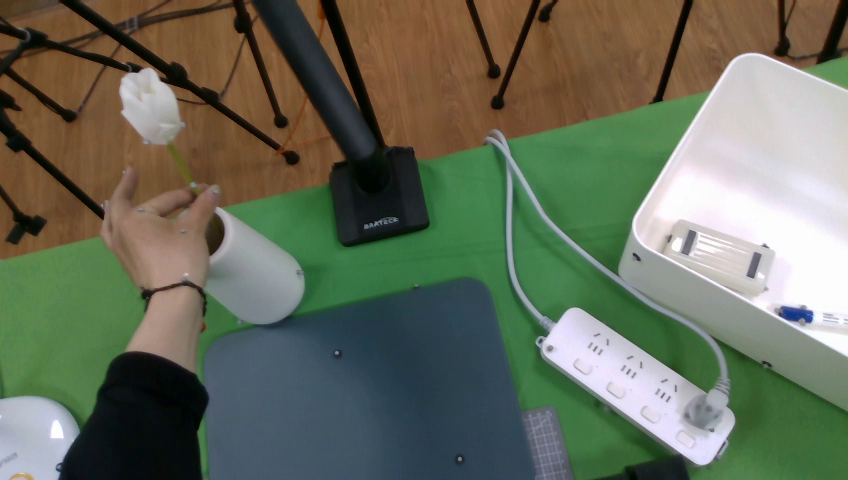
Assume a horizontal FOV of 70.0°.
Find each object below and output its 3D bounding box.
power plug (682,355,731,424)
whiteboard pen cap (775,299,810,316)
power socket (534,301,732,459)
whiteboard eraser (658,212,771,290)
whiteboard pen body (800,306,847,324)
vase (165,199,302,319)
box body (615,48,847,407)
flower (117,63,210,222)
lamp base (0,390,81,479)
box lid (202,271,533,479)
[{"bbox_3d":[0.303,0.162,0.636,0.072,0.053,0.035,-41,69,-12],"label":"power plug"},{"bbox_3d":[0.413,0.076,0.677,0.033,0.018,0.018,7,71,11],"label":"whiteboard pen cap"},{"bbox_3d":[0.230,0.153,0.674,0.225,0.033,0.072,35,78,18],"label":"power socket"},{"bbox_3d":[0.332,0.012,0.697,0.112,0.042,0.055,21,76,12],"label":"whiteboard eraser"},{"bbox_3d":[0.469,0.085,0.667,0.140,0.017,0.017,6,71,12],"label":"whiteboard pen body"},{"bbox_3d":[-0.210,0.024,0.689,0.098,0.201,0.097,-2,68,6],"label":"vase"},{"bbox_3d":[0.416,0.005,0.632,0.362,0.161,0.253,31,77,17],"label":"box body"},{"bbox_3d":[-0.216,-0.020,0.616,0.044,0.365,0.038,21,58,18],"label":"flower"},{"bbox_3d":[-0.512,0.227,0.665,0.160,0.182,0.178,-42,68,-8],"label":"lamp base"},{"bbox_3d":[-0.076,0.193,0.711,0.371,0.015,0.261,-14,69,3],"label":"box lid"}]
